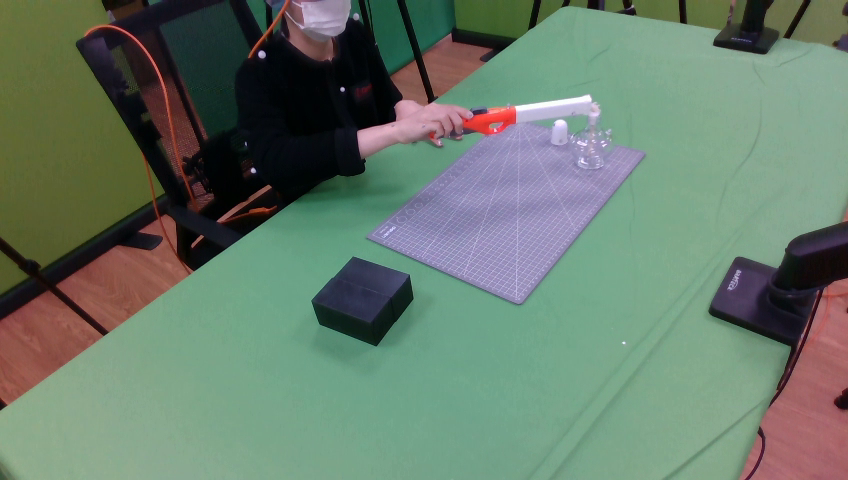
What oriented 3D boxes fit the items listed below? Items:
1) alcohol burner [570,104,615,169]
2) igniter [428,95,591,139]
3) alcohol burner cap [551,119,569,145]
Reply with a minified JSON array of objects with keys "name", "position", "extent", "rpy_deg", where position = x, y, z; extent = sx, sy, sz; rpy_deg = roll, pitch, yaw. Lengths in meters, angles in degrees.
[{"name":"alcohol burner","position":[0.299,-0.186,1.071],"extent":[0.078,0.119,0.077],"rpy_deg":[-6,41,6]},{"name":"igniter","position":[0.143,-0.208,1.020],"extent":[0.277,0.057,0.025],"rpy_deg":[-9,47,-2]},{"name":"alcohol burner cap","position":[0.261,-0.208,1.156],"extent":[0.034,0.048,0.033],"rpy_deg":[-5,41,5]}]
